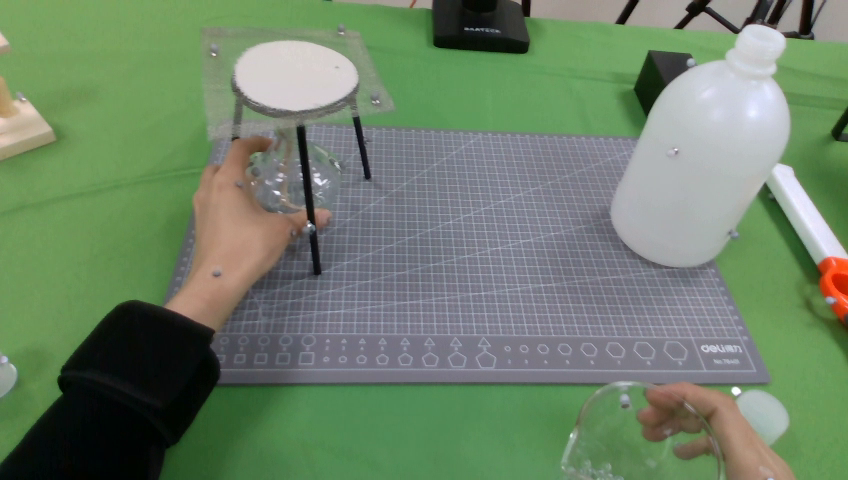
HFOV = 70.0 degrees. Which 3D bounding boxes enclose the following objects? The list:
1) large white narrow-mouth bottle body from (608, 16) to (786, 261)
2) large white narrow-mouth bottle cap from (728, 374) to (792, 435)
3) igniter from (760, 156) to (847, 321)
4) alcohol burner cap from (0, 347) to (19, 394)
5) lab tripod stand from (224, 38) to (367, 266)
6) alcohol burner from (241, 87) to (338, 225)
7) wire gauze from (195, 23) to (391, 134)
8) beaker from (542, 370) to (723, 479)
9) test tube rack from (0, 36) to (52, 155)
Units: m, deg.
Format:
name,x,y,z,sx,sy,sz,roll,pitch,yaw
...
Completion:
name,x,y,z,sx,sy,sz,roll,pitch,yaw
large white narrow-mouth bottle body,0.220,-0.079,0.479,0.102,0.196,0.101,3,47,-3
large white narrow-mouth bottle cap,0.235,0.115,0.424,0.038,0.024,0.037,3,47,-3
igniter,0.355,0.021,0.522,0.057,0.025,0.273,9,46,-12
alcohol burner cap,-0.281,0.076,0.380,0.034,0.048,0.033,5,47,-5
lab tripod stand,-0.098,-0.074,0.476,0.148,0.132,0.147,5,48,-5
alcohol burner,-0.107,-0.070,0.484,0.078,0.120,0.077,5,45,-5
wire gauze,-0.096,-0.122,0.428,0.122,0.011,0.123,-8,50,-16
beaker,0.106,0.132,0.339,0.084,0.101,0.073,-8,48,-12
test tube rack,-0.449,-0.088,0.481,0.242,0.086,0.066,-32,59,-31
